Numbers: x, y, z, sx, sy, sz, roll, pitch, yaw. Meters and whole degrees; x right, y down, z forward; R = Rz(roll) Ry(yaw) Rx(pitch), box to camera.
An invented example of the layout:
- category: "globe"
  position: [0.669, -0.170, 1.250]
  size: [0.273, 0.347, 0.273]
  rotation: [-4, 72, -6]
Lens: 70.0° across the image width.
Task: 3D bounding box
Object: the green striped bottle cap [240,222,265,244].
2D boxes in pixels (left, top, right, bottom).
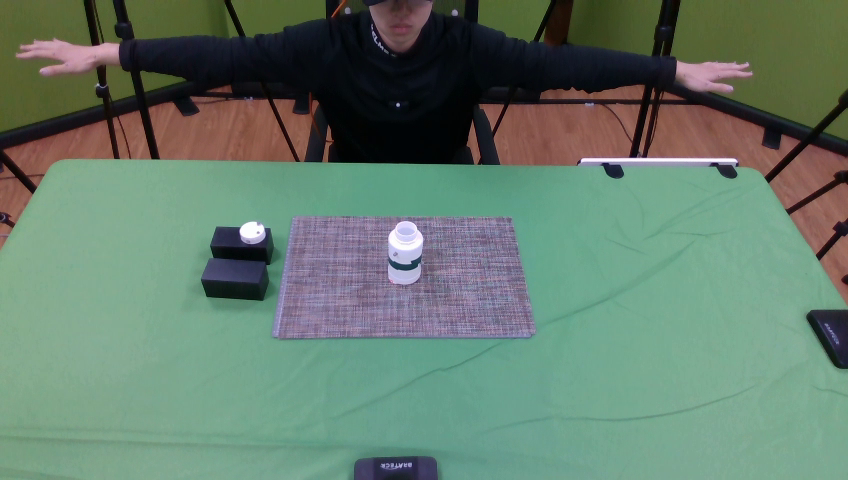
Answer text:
- category: "green striped bottle cap"
  position: [-0.318, -0.013, 1.123]
  size: [0.044, 0.020, 0.044]
  rotation: [0, 46, 0]

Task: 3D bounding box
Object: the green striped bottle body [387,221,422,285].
- category: "green striped bottle body"
  position: [-0.035, 0.021, 1.103]
  size: [0.063, 0.120, 0.063]
  rotation: [2, 46, -2]
